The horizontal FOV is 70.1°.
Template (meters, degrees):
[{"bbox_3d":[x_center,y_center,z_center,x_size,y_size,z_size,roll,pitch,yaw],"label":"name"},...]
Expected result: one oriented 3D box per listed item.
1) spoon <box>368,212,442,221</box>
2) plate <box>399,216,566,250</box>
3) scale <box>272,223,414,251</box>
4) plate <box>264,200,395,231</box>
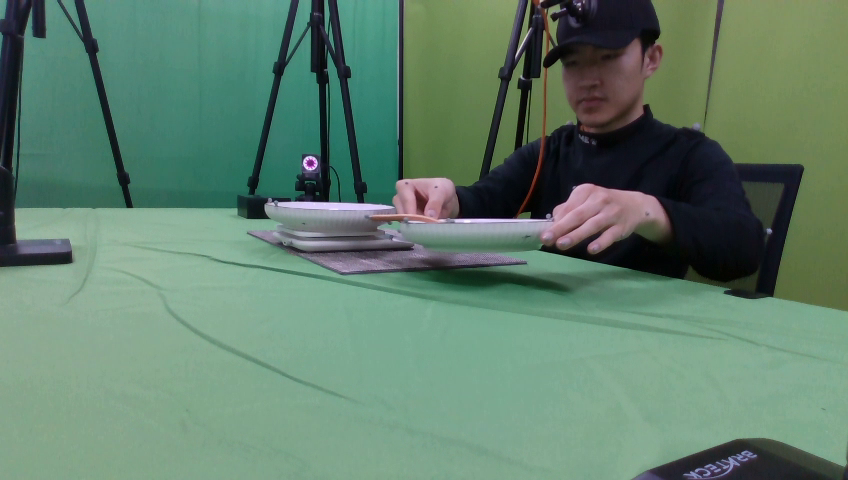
[{"bbox_3d":[0.001,-0.025,0.763,0.193,0.021,0.042,11,8,40],"label":"spoon"},{"bbox_3d":[0.073,-0.010,0.760,0.209,0.038,0.209,-1,3,0],"label":"plate"},{"bbox_3d":[-0.131,-0.008,0.983,0.202,0.031,0.148,-2,8,-32],"label":"scale"},{"bbox_3d":[-0.150,-0.040,0.971,0.208,0.039,0.207,2,7,0],"label":"plate"}]
